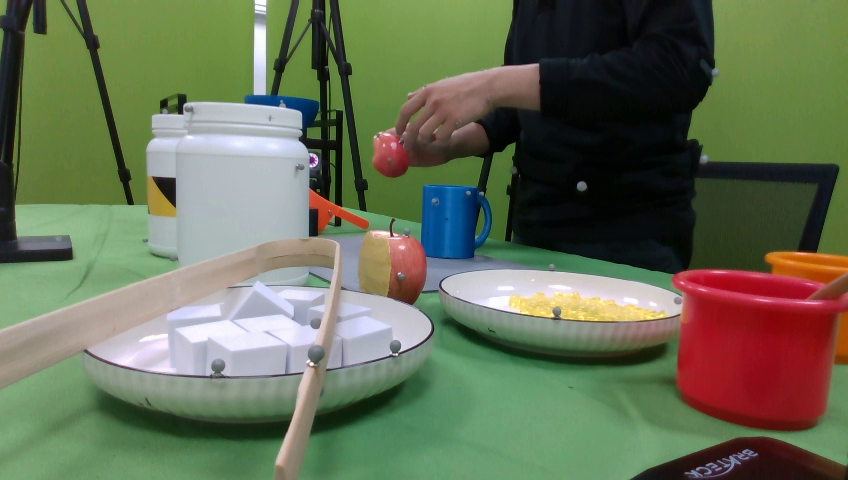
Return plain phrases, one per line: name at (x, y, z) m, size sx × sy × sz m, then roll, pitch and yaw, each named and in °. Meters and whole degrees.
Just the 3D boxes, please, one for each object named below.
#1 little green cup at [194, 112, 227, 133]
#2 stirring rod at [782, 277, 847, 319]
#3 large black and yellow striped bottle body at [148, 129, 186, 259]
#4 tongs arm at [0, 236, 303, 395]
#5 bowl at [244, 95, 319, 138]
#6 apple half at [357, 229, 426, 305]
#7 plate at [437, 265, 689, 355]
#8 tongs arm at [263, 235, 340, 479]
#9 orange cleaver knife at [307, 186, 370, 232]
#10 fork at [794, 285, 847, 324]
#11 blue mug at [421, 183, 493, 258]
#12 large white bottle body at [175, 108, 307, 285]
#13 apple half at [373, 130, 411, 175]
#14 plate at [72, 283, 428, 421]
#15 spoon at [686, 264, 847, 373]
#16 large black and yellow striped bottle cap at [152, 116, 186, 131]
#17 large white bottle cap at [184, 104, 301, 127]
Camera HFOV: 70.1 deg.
little green cup at (-0.412, -0.228, 1.171) m, size 0.061 × 0.038 × 0.061 m, roll 2°, pitch 8°, yaw 0°
stirring rod at (0.344, 0.019, 0.460) m, size 0.014 × 0.006 × 0.176 m, roll -13°, pitch -27°, yaw -30°
large black and yellow striped bottle body at (-0.310, -0.073, 0.838) m, size 0.131 × 0.184 × 0.130 m, roll 2°, pitch 8°, yaw 0°
tongs arm at (-0.157, 0.038, 0.351) m, size 0.028 × 0.028 × 0.388 m, roll -3°, pitch 8°, yaw 12°
bowl at (-0.293, -0.251, 1.249) m, size 0.151 × 0.077 × 0.151 m, roll 2°, pitch 7°, yaw 0°
apple half at (-0.026, 0.028, 0.570) m, size 0.053 × 0.074 × 0.080 m, roll 3°, pitch 2°, yaw -28°
plate at (0.114, 0.057, 0.518) m, size 0.209 × 0.038 × 0.209 m, roll 3°, pitch 8°, yaw 0°
tongs arm at (-0.074, 0.039, 0.349) m, size 0.051 × 0.026 × 0.384 m, roll -2°, pitch 10°, yaw -3°
orange cleaver knife at (-0.197, -0.056, 1.141) m, size 0.212 × 0.077 × 0.012 m, roll 29°, pitch 0°, yaw -35°
fork at (0.332, 0.018, 0.443) m, size 0.028 × 0.018 × 0.207 m, roll -1°, pitch -36°, yaw -16°
blue mug at (0.052, -0.032, 0.912) m, size 0.117 × 0.106 × 0.082 m, roll -1°, pitch 8°, yaw -24°
large white bottle body at (-0.188, -0.042, 0.630) m, size 0.131 × 0.184 × 0.130 m, roll 2°, pitch 8°, yaw 0°
apple half at (-0.046, -0.145, 0.985) m, size 0.082 × 0.081 × 0.032 m, roll -5°, pitch -9°, yaw -43°
plate at (-0.102, 0.066, 0.381) m, size 0.208 × 0.039 × 0.207 m, roll 2°, pitch 7°, yaw 0°
spoon at (0.214, 0.032, 0.328) m, size 0.042 × 0.021 × 0.193 m, roll -3°, pitch -35°, yaw -26°
large black and yellow striped bottle cap at (-0.309, -0.155, 0.826) m, size 0.115 × 0.019 × 0.115 m, roll 3°, pitch 6°, yaw 0°
large white bottle cap at (-0.184, -0.126, 0.618) m, size 0.115 × 0.018 × 0.115 m, roll 2°, pitch 8°, yaw 0°
